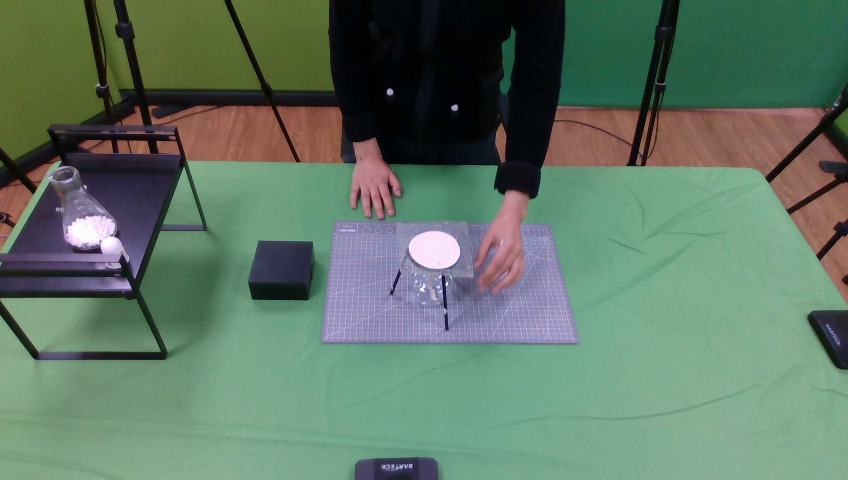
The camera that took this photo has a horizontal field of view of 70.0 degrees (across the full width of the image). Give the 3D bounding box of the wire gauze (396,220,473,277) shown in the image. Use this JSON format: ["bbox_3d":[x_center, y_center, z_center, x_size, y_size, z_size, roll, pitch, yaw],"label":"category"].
[{"bbox_3d":[0.016,0.012,1.013,0.125,0.011,0.120,1,47,-5],"label":"wire gauze"}]

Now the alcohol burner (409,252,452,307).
[{"bbox_3d":[0.013,0.063,1.071,0.078,0.119,0.077,4,45,-4],"label":"alcohol burner"}]

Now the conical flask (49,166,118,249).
[{"bbox_3d":[-0.505,-0.051,0.888,0.075,0.122,0.075,2,46,-2],"label":"conical flask"}]

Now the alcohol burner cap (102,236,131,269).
[{"bbox_3d":[-0.451,0.016,0.883,0.034,0.048,0.033,3,44,-2],"label":"alcohol burner cap"}]

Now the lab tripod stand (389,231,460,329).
[{"bbox_3d":[0.015,0.063,1.058,0.148,0.132,0.147,4,46,-4],"label":"lab tripod stand"}]
